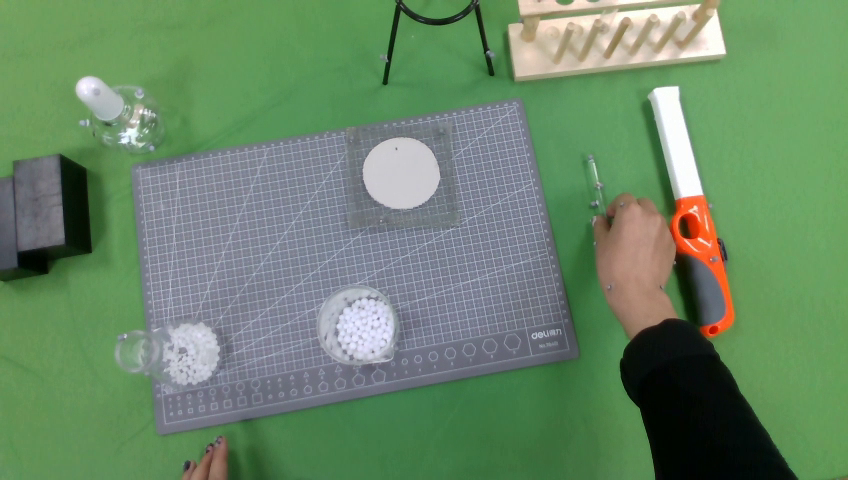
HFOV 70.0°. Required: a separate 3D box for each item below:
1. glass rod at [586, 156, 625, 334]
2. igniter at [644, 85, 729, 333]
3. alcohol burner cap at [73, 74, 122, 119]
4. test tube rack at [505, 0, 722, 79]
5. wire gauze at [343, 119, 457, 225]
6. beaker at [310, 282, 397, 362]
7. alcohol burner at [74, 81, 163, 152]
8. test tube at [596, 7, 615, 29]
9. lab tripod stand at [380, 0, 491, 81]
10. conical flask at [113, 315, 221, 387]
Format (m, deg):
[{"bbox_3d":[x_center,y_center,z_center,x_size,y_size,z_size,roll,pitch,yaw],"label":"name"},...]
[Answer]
[{"bbox_3d":[0.199,0.003,0.663,0.008,0.008,0.199,-9,82,-1],"label":"glass rod"},{"bbox_3d":[0.286,-0.038,0.661,0.057,0.025,0.275,-7,80,-11],"label":"igniter"},{"bbox_3d":[-0.329,-0.146,0.605,0.034,0.048,0.033,0,73,1],"label":"alcohol burner cap"},{"bbox_3d":[0.217,-0.240,0.669,0.242,0.085,0.066,-7,79,0],"label":"test tube rack"},{"bbox_3d":[-0.028,-0.075,0.677,0.125,0.011,0.121,-2,79,-3],"label":"wire gauze"},{"bbox_3d":[-0.062,0.086,0.602,0.084,0.100,0.074,43,83,8],"label":"beaker"},{"bbox_3d":[-0.328,-0.137,0.640,0.078,0.119,0.077,0,80,2],"label":"alcohol burner"},{"bbox_3d":[0.198,-0.262,0.623,0.017,0.151,0.017,-1,79,3],"label":"test tube"},{"bbox_3d":[0.009,-0.236,0.646,0.148,0.132,0.148,0,81,1],"label":"lab tripod stand"},{"bbox_3d":[-0.252,0.107,0.587,0.075,0.122,0.075,0,79,1],"label":"conical flask"}]
